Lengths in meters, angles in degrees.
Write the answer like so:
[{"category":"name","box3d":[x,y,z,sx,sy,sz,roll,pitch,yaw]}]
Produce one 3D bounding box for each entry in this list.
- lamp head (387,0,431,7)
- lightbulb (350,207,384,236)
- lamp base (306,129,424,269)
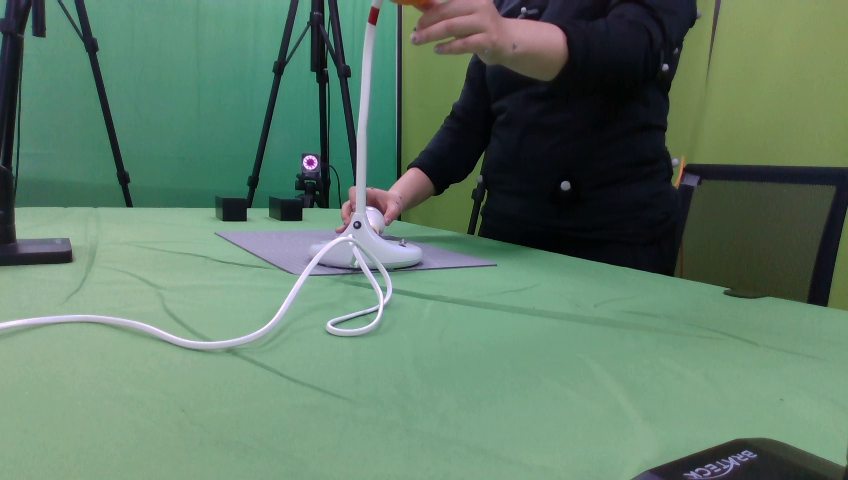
[{"category":"lamp head","box3d":[-0.020,-0.324,0.670,0.112,0.123,0.112,4,3,0]},{"category":"lightbulb","box3d":[-0.095,-0.018,1.019,0.060,0.059,0.107,2,23,-10]},{"category":"lamp base","box3d":[-0.077,-0.057,0.811,0.161,0.180,0.179,1,10,-4]}]
